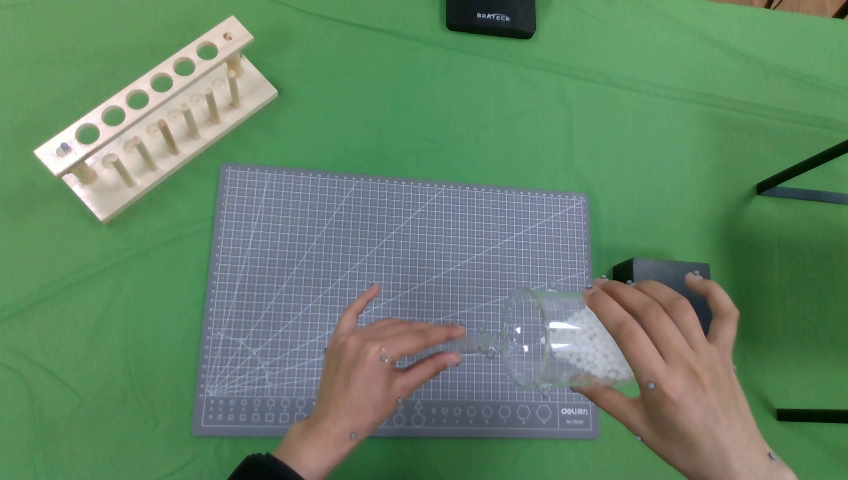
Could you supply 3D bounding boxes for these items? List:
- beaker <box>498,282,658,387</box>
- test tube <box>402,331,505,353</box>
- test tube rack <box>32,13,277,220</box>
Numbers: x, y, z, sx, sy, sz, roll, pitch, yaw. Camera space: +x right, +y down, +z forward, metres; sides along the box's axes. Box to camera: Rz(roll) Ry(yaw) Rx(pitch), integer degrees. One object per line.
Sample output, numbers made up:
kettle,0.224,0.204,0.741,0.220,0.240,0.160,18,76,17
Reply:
beaker,0.114,0.073,0.457,0.101,0.084,0.073,4,75,-18
test tube,0.021,0.092,0.540,0.017,0.150,0.017,7,77,-30
test tube rack,-0.277,-0.132,0.653,0.242,0.085,0.066,-42,87,-17
